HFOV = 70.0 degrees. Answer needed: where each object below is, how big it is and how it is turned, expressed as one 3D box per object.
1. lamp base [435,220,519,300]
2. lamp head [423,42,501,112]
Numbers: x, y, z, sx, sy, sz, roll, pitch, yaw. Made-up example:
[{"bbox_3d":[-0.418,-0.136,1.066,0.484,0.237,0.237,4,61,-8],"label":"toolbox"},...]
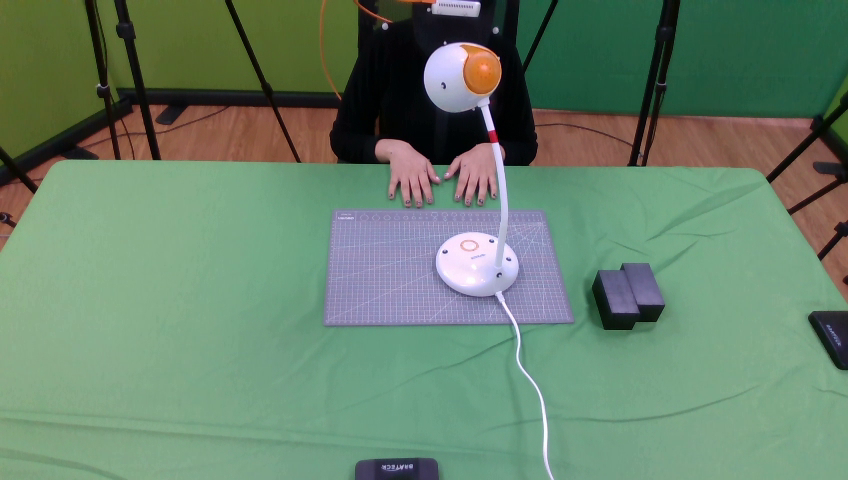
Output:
[{"bbox_3d":[0.112,-0.002,1.096,0.161,0.181,0.178,-22,54,-23],"label":"lamp base"},{"bbox_3d":[0.071,-0.258,0.962,0.112,0.113,0.122,-16,19,-18],"label":"lamp head"}]
